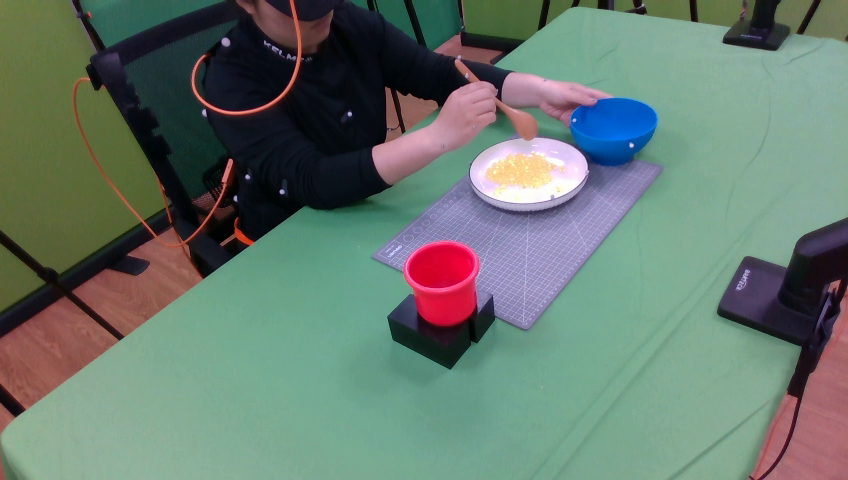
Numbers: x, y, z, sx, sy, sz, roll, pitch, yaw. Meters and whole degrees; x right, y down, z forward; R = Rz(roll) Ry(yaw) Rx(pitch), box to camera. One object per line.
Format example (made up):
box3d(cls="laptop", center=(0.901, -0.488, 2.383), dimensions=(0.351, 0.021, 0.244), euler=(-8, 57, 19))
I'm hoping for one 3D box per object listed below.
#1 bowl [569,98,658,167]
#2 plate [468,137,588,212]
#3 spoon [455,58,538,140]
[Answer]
box3d(cls="bowl", center=(0.338, -0.186, 1.091), dimensions=(0.151, 0.077, 0.150), euler=(-5, 40, 5))
box3d(cls="plate", center=(0.182, -0.111, 1.064), dimensions=(0.207, 0.039, 0.206), euler=(-5, 40, 5))
box3d(cls="spoon", center=(0.121, -0.233, 1.004), dimensions=(0.041, 0.195, 0.021), euler=(-57, 19, -8))
